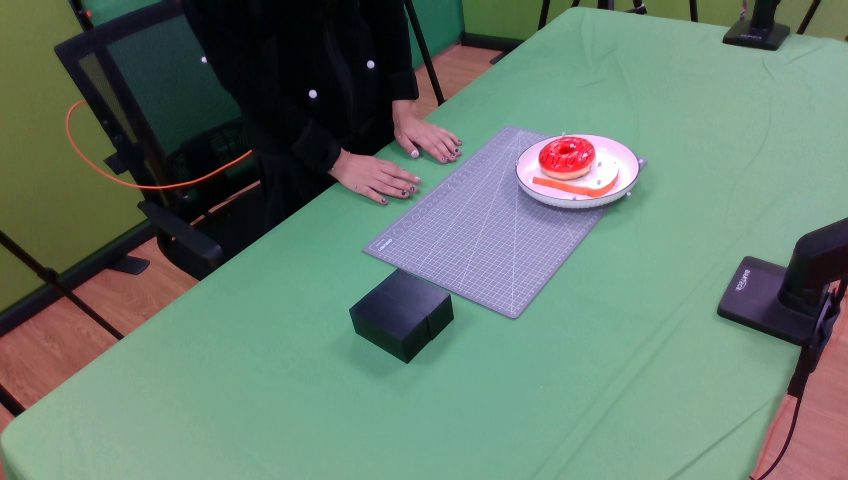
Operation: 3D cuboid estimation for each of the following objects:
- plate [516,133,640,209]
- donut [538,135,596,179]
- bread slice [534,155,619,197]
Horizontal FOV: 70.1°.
[{"bbox_3d":[0.266,-0.117,1.055,0.209,0.038,0.208,-5,40,5],"label":"plate"},{"bbox_3d":[0.248,-0.144,1.047,0.099,0.048,0.098,-8,41,8],"label":"donut"},{"bbox_3d":[0.274,-0.119,1.057,0.130,0.019,0.105,19,49,30],"label":"bread slice"}]
